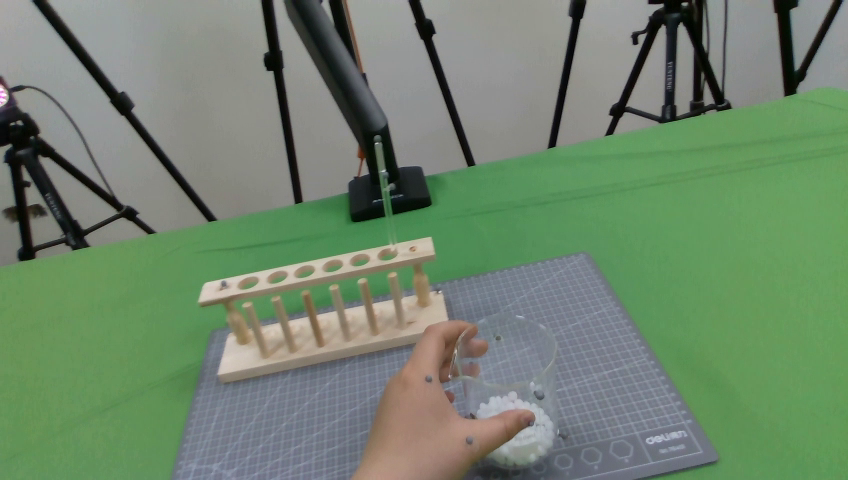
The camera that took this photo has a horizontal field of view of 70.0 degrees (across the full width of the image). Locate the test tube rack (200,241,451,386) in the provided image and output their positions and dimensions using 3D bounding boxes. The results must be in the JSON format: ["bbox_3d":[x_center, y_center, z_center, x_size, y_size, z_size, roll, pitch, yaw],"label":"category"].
[{"bbox_3d":[-0.101,0.076,0.631,0.242,0.086,0.066,-12,33,0],"label":"test tube rack"}]

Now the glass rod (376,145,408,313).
[{"bbox_3d":[-0.030,-0.003,0.606,0.008,0.201,0.008,-5,33,4],"label":"glass rod"}]

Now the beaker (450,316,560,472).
[{"bbox_3d":[0.064,0.121,0.463,0.084,0.101,0.073,-20,34,-15],"label":"beaker"}]
